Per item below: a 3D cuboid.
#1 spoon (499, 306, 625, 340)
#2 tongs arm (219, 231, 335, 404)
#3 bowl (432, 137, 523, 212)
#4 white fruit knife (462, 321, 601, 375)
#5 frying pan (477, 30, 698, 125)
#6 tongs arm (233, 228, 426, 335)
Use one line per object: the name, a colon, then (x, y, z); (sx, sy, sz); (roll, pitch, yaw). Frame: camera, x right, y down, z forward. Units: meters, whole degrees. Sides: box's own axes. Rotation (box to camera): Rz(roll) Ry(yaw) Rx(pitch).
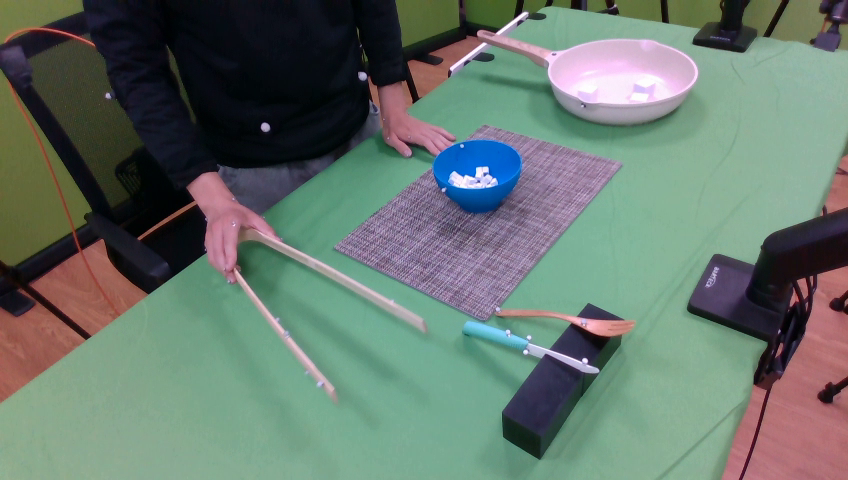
spoon: (0.169, 0.102, 0.773); (0.042, 0.021, 0.192); (-11, 14, -38)
tongs arm: (-0.204, 0.089, 0.828); (0.051, 0.026, 0.381); (-33, 44, -23)
bowl: (0.091, -0.100, 1.022); (0.151, 0.077, 0.150); (-4, 41, 4)
white fruit knife: (0.126, 0.132, 0.752); (0.205, 0.027, 0.016); (12, 47, 42)
frying pan: (0.321, -0.371, 1.290); (0.484, 0.103, 0.308); (29, 51, 24)
tongs arm: (-0.147, 0.050, 0.864); (0.384, 0.028, 0.028); (23, 55, 34)
